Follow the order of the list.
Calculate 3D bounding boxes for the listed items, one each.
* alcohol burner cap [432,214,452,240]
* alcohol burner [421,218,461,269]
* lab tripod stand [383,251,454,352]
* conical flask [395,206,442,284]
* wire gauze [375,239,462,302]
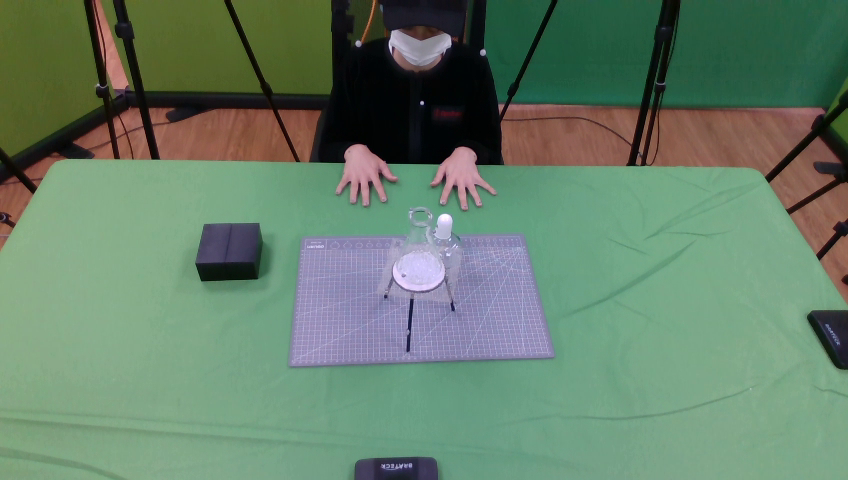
[{"bbox_3d":[0.035,-0.027,1.110,0.034,0.048,0.033,7,42,-6],"label":"alcohol burner cap"},{"bbox_3d":[0.033,-0.001,1.135,0.078,0.119,0.077,3,48,-3],"label":"alcohol burner"},{"bbox_3d":[-0.015,0.094,1.025,0.148,0.132,0.147,1,46,-1],"label":"lab tripod stand"},{"bbox_3d":[-0.007,0.005,0.937,0.075,0.122,0.075,2,45,-1],"label":"conical flask"},{"bbox_3d":[-0.006,0.049,0.978,0.121,0.011,0.124,10,44,5],"label":"wire gauze"}]
